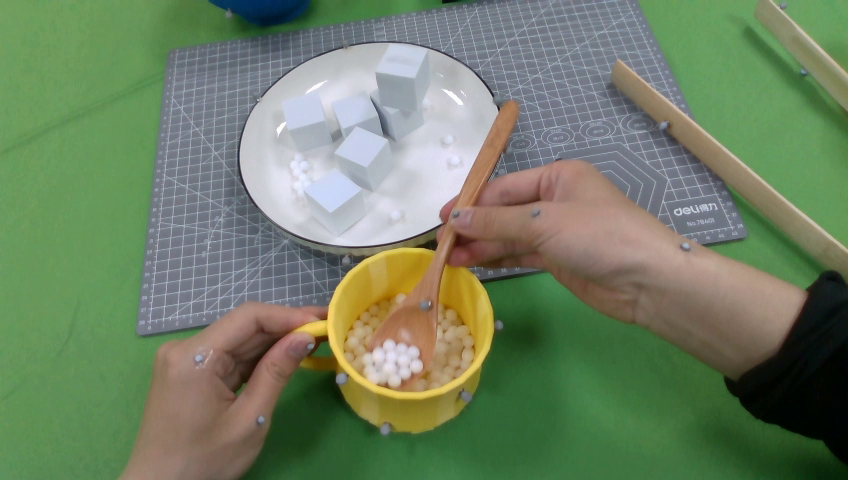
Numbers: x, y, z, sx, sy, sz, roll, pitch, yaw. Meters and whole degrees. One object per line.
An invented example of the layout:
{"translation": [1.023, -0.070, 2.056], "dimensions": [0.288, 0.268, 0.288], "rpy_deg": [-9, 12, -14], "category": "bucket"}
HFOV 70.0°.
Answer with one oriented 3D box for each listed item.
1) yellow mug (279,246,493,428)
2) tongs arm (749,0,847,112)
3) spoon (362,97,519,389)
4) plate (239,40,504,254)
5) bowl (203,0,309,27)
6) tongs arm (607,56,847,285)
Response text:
{"translation": [-0.025, 0.063, 0.382], "dimensions": [0.131, 0.064, 0.099], "rpy_deg": [-5, 58, -6], "category": "yellow mug"}
{"translation": [0.343, -0.052, 0.443], "dimensions": [0.051, 0.027, 0.381], "rpy_deg": [-22, 62, -8], "category": "tongs arm"}
{"translation": [0.015, 0.000, 0.366], "dimensions": [0.041, 0.022, 0.193], "rpy_deg": [25, 90, 23], "category": "spoon"}
{"translation": [-0.040, -0.075, 0.486], "dimensions": [0.207, 0.039, 0.206], "rpy_deg": [-2, 60, 4], "category": "plate"}
{"translation": [-0.158, -0.262, 0.585], "dimensions": [0.151, 0.077, 0.150], "rpy_deg": [-3, 60, 5], "category": "bowl"}
{"translation": [0.271, -0.016, 0.431], "dimensions": [0.028, 0.028, 0.384], "rpy_deg": [-32, 63, -17], "category": "tongs arm"}
